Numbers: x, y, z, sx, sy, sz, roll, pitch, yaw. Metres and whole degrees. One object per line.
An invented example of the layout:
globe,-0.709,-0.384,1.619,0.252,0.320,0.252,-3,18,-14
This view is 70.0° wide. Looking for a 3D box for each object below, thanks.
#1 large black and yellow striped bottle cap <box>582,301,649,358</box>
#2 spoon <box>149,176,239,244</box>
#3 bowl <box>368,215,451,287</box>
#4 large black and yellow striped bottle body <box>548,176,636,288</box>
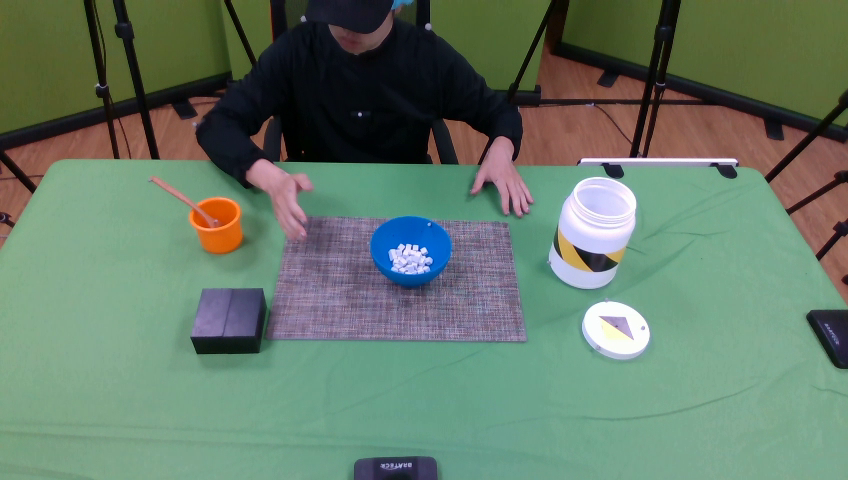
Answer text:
large black and yellow striped bottle cap,0.340,0.157,1.077,0.115,0.019,0.114,1,47,-1
spoon,-0.427,-0.057,1.132,0.021,0.195,0.041,-27,31,34
bowl,-0.028,0.033,1.119,0.151,0.077,0.150,2,46,-2
large black and yellow striped bottle body,0.310,-0.014,1.122,0.131,0.185,0.130,2,46,-2
